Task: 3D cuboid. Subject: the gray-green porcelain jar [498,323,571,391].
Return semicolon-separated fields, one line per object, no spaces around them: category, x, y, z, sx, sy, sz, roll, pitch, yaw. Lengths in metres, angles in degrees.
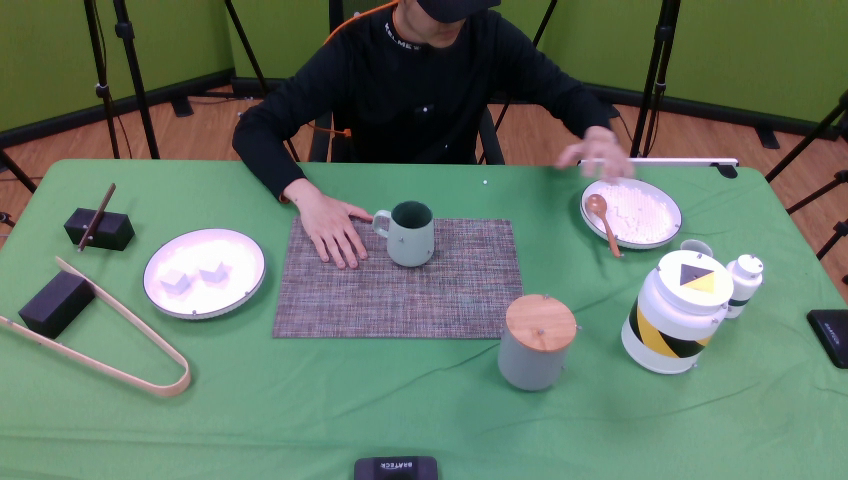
gray-green porcelain jar;0.176;0.172;0.971;0.106;0.127;0.105;2;46;-2

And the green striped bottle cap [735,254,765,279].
green striped bottle cap;0.566;0.046;1.051;0.044;0.020;0.044;0;45;0

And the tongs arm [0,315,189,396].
tongs arm;-0.555;0.170;0.981;0.384;0.026;0.050;21;43;14

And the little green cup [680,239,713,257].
little green cup;0.530;0.033;1.190;0.061;0.039;0.061;2;46;-2

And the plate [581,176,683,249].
plate;0.430;-0.054;1.267;0.209;0.038;0.208;2;46;-2

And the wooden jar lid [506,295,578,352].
wooden jar lid;0.179;0.130;0.925;0.108;0.021;0.107;2;43;-2

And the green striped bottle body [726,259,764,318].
green striped bottle body;0.563;0.081;1.089;0.063;0.120;0.063;2;46;-2

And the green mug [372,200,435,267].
green mug;-0.040;-0.016;1.146;0.125;0.105;0.092;17;48;13

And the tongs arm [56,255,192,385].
tongs arm;-0.517;0.126;1.033;0.386;0.028;0.028;30;43;23

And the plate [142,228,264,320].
plate;-0.394;0.064;1.095;0.208;0.039;0.206;2;46;-2

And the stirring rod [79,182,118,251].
stirring rod;-0.605;-0.046;1.131;0.006;0.014;0.175;0;47;0

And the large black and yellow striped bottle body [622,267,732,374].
large black and yellow striped bottle body;0.415;0.119;0.997;0.131;0.185;0.130;2;46;-2

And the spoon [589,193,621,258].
spoon;0.367;-0.032;1.220;0.041;0.022;0.192;1;38;-1

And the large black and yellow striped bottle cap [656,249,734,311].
large black and yellow striped bottle cap;0.419;0.061;0.938;0.115;0.019;0.114;2;47;-2
